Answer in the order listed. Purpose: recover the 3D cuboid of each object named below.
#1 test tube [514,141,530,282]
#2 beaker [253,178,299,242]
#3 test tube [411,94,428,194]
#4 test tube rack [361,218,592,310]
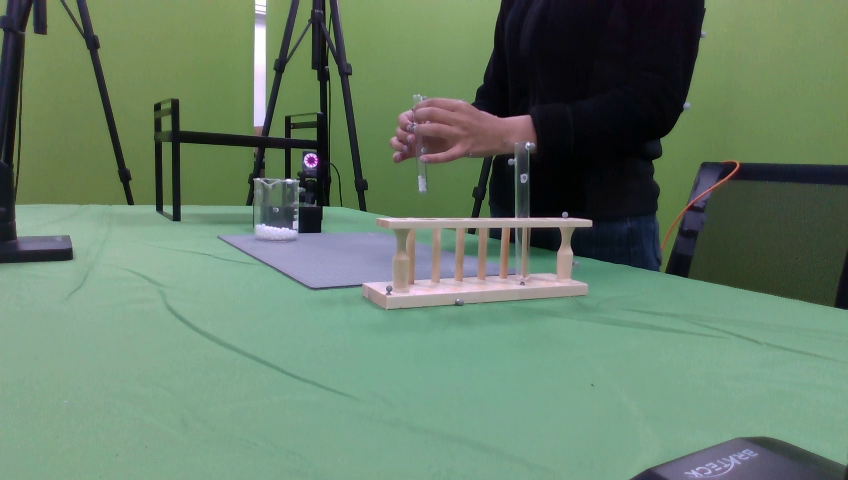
[{"bbox_3d":[0.103,-0.028,0.636,0.017,0.150,0.017,-2,12,1],"label":"test tube"},{"bbox_3d":[-0.243,-0.050,0.990,0.074,0.100,0.084,2,9,1],"label":"beaker"},{"bbox_3d":[-0.007,-0.145,0.915,0.017,0.150,0.017,-4,4,1],"label":"test tube"},{"bbox_3d":[0.060,0.018,0.640,0.243,0.085,0.066,-1,8,-27],"label":"test tube rack"}]
